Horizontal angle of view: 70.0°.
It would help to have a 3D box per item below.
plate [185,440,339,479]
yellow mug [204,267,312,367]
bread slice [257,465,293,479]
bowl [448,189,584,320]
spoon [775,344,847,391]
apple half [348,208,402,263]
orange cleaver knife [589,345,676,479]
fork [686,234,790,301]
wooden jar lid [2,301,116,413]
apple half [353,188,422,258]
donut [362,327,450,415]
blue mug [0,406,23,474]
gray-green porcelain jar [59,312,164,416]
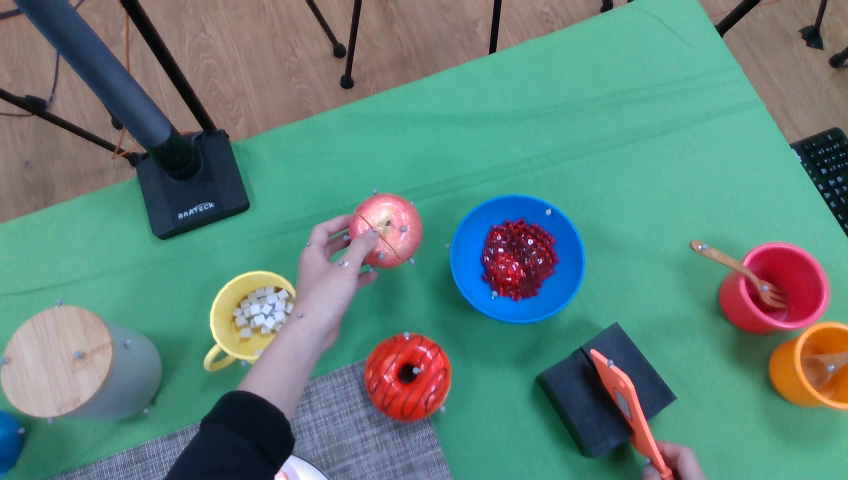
[{"bbox_3d":[-0.170,0.317,0.631,0.208,0.039,0.206,0,72,1],"label":"plate"},{"bbox_3d":[-0.196,0.097,0.690,0.131,0.064,0.099,-44,76,-11],"label":"yellow mug"},{"bbox_3d":[-0.163,0.319,0.632,0.107,0.018,0.133,-31,73,-8],"label":"bread slice"},{"bbox_3d":[0.102,0.025,0.702,0.151,0.077,0.150,0,73,1],"label":"bowl"},{"bbox_3d":[0.462,0.106,0.632,0.022,0.194,0.041,-6,61,-48],"label":"spoon"},{"bbox_3d":[-0.059,0.004,0.661,0.033,0.082,0.081,-44,76,-7],"label":"apple half"},{"bbox_3d":[0.227,0.204,0.634,0.012,0.077,0.212,-29,100,-9],"label":"orange cleaver knife"},{"bbox_3d":[0.345,0.031,0.658,0.209,0.018,0.028,24,67,-35],"label":"fork"},{"bbox_3d":[-0.352,0.114,0.591,0.108,0.021,0.107,-1,71,2],"label":"wooden jar lid"},{"bbox_3d":[-0.032,-0.025,0.665,0.053,0.075,0.080,-44,79,-8],"label":"apple half"},{"bbox_3d":[-0.020,0.146,0.680,0.099,0.048,0.098,0,74,1],"label":"donut"},{"bbox_3d":[-0.509,0.225,0.635,0.082,0.106,0.116,41,78,13],"label":"blue mug"},{"bbox_3d":[-0.350,0.134,0.650,0.106,0.127,0.105,0,72,1],"label":"gray-green porcelain jar"}]
